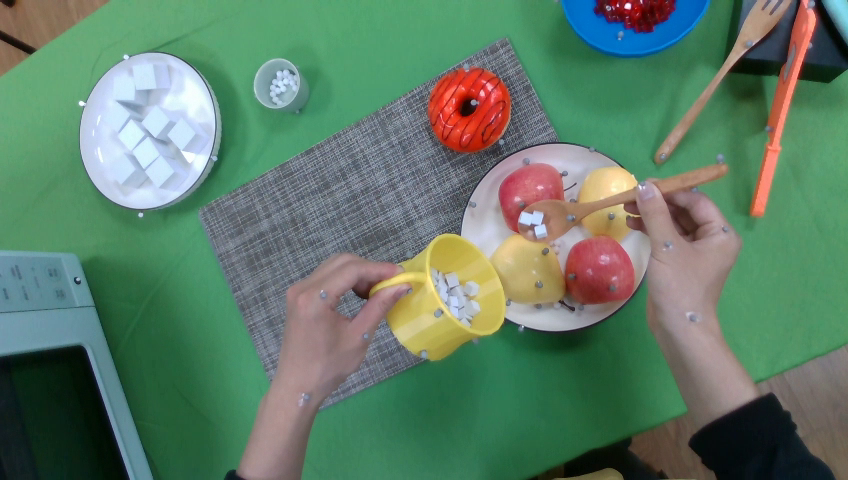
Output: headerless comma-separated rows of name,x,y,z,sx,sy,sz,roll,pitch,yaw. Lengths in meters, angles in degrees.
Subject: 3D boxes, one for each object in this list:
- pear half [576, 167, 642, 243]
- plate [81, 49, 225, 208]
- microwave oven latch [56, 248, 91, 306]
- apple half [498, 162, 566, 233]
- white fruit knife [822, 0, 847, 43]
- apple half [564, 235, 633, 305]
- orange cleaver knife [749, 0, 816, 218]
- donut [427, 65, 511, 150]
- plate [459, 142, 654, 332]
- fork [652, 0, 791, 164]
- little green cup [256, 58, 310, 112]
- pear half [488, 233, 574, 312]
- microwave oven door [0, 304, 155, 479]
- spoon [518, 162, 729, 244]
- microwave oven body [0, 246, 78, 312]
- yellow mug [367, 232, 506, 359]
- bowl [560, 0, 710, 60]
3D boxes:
pear half,0.193,-0.034,0.646,0.070,0.031,0.088,6,100,37
plate,-0.352,-0.144,0.800,0.207,0.039,0.207,-1,88,14
microwave oven latch,-0.471,0.050,0.803,0.030,0.029,0.079,-21,84,11
apple half,0.118,-0.045,0.660,0.074,0.053,0.080,-8,89,14
white fruit knife,0.382,-0.263,0.586,0.027,0.016,0.206,-21,80,-17
apple half,0.178,0.033,0.643,0.081,0.033,0.081,4,97,35
orange cleaver knife,0.355,-0.127,0.605,0.012,0.077,0.212,11,116,19
donut,0.051,-0.151,0.695,0.099,0.048,0.099,0,90,16
plate,0.144,-0.003,0.671,0.208,0.038,0.209,-1,88,13
fork,0.299,-0.164,0.617,0.028,0.018,0.208,32,116,5
little green cup,-0.174,-0.191,0.758,0.061,0.039,0.061,-1,88,14
pear half,0.121,0.042,0.661,0.109,0.056,0.076,37,101,7
microwave oven door,-0.416,0.248,0.679,0.039,0.244,0.354,-24,82,12
spoon,0.165,-0.033,0.530,0.193,0.022,0.041,-17,80,44
microwave oven body,-0.561,0.267,0.719,0.326,0.261,0.440,-24,83,11
yellow mug,0.007,0.049,0.542,0.064,0.132,0.099,-35,58,37
bowl,0.221,-0.257,0.644,0.151,0.077,0.151,0,89,14
